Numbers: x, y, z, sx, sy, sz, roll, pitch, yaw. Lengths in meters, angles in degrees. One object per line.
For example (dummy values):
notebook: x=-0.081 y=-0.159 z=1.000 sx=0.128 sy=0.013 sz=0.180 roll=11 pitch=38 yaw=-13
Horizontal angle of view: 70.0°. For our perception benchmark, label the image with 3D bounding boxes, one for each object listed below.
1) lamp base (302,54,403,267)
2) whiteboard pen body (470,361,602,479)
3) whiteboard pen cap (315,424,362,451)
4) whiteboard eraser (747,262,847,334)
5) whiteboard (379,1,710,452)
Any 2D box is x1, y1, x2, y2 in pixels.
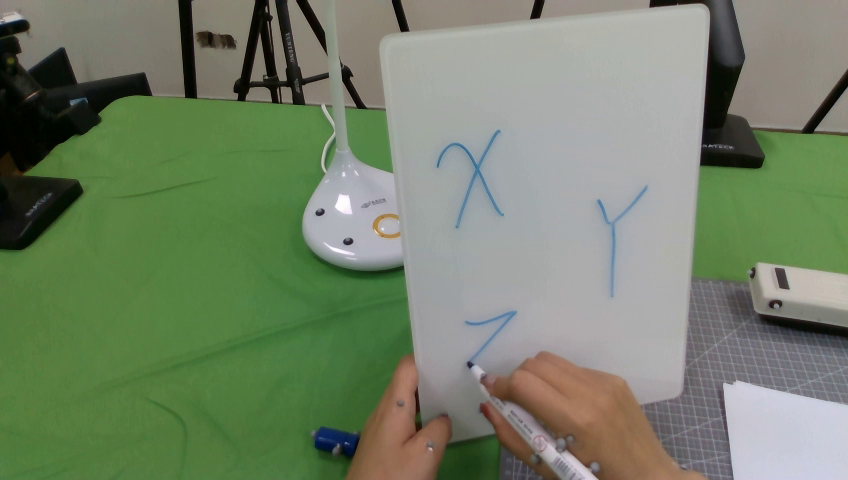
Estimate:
lamp base: x=-0.064 y=-0.090 z=0.631 sx=0.161 sy=0.182 sz=0.177 roll=-28 pitch=44 yaw=-28
whiteboard pen body: x=0.069 y=0.120 z=0.396 sx=0.017 sy=0.017 sz=0.139 roll=-22 pitch=38 yaw=-23
whiteboard pen cap: x=-0.066 y=0.152 z=0.468 sx=0.033 sy=0.018 sz=0.018 roll=6 pitch=40 yaw=11
whiteboard eraser: x=0.359 y=0.055 z=0.551 sx=0.112 sy=0.042 sz=0.055 roll=9 pitch=42 yaw=13
whiteboard: x=0.082 y=-0.018 z=0.488 sx=0.217 sy=0.307 sz=0.142 roll=-8 pitch=21 yaw=-7
